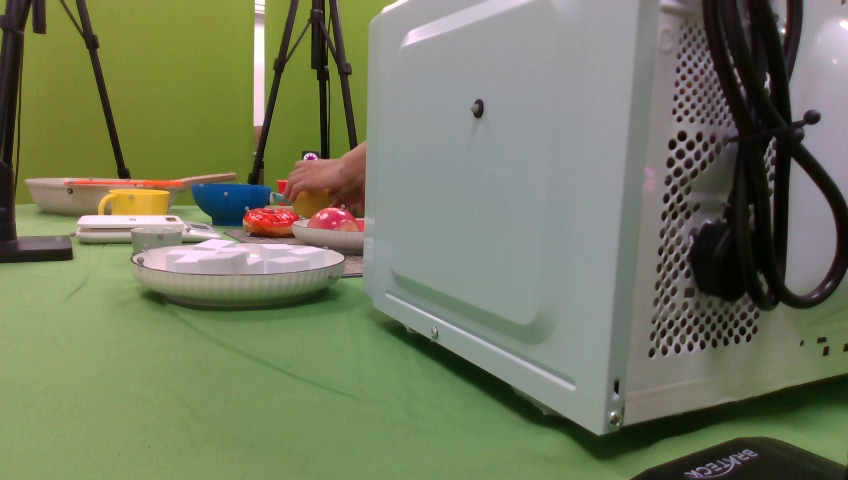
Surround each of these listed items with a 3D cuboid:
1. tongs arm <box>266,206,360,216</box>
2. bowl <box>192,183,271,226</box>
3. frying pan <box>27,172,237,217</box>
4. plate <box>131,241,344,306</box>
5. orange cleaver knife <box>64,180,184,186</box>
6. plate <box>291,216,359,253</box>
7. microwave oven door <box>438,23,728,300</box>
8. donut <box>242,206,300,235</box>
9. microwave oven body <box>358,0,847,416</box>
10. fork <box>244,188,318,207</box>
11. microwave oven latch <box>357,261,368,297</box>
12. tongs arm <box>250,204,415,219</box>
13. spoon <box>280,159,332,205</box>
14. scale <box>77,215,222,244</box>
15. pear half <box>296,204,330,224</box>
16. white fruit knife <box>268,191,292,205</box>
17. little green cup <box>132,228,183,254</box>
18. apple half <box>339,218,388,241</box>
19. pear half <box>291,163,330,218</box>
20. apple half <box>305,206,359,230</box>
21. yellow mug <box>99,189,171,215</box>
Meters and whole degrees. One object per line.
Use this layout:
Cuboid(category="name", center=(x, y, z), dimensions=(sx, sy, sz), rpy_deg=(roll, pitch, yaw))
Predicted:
Cuboid(category="tongs arm", center=(-0.175, -0.061, 1.363), dimensions=(0.387, 0.026, 0.050), rpy_deg=(-1, 3, -32))
Cuboid(category="bowl", center=(-0.382, -0.071, 1.202), dimensions=(0.151, 0.077, 0.151), rpy_deg=(3, 7, 0))
Cuboid(category="frying pan", center=(-0.624, -0.118, 1.387), dimensions=(0.305, 0.102, 0.490), rpy_deg=(8, 17, 32))
Cuboid(category="plate", center=(-0.187, 0.033, 0.625), dimensions=(0.208, 0.039, 0.207), rpy_deg=(2, 8, 0))
Cuboid(category="orange cleaver knife", center=(-0.595, -0.114, 1.212), dimensions=(0.212, 0.012, 0.077), rpy_deg=(-4, 6, -41))
Cuboid(category="plate", center=(-0.103, -0.010, 0.945), dimensions=(0.209, 0.038, 0.209), rpy_deg=(2, 8, 0))
Cuboid(category="microwave oven door", center=(0.181, -0.072, 0.621), dimensions=(0.358, 0.243, 0.039), rpy_deg=(-2, 8, -29))
Cuboid(category="donut", center=(-0.262, -0.032, 1.039), dimensions=(0.099, 0.048, 0.099), rpy_deg=(4, 10, 0))
Cuboid(category="microwave oven body", center=(0.211, -0.047, 0.474), dimensions=(0.444, 0.260, 0.324), rpy_deg=(-1, 7, -28))
Cuboid(category="fork", center=(-0.356, -0.105, 1.526), dimensions=(0.208, 0.018, 0.028), rpy_deg=(16, -6, -41))
Cuboid(category="microwave oven latch", center=(-0.019, 0.033, 0.530), dimensions=(0.079, 0.029, 0.030), rpy_deg=(-1, 7, -27))
Cuboid(category="tongs arm", center=(-0.213, -0.068, 1.440), dimensions=(0.389, 0.027, 0.028), rpy_deg=(1, -1, -17))
Cuboid(category="spoon", center=(-0.316, -0.159, 1.640), dimensions=(0.194, 0.022, 0.041), rpy_deg=(-50, 32, -20))
Cuboid(category="scale", center=(-0.434, -0.019, 0.963), dimensions=(0.202, 0.031, 0.148), rpy_deg=(-1, 9, -27))
Cuboid(category="pear half", center=(-0.228, -0.051, 1.260), dimensions=(0.070, 0.031, 0.088), rpy_deg=(-5, 16, 3))
Cuboid(category="white fruit knife", center=(-0.364, -0.105, 1.464), dimensions=(0.208, 0.027, 0.016), rpy_deg=(15, -1, -34))
Cuboid(category="little green cup", center=(-0.342, 0.006, 0.779), dimensions=(0.061, 0.038, 0.061), rpy_deg=(2, 8, 0))
Cuboid(category="apple half", center=(-0.097, -0.019, 0.984), dimensions=(0.081, 0.033, 0.081), rpy_deg=(2, 8, 0))
Cuboid(category="pear half", center=(-0.221, -0.095, 1.175), dimensions=(0.076, 0.109, 0.056), rpy_deg=(-1, 5, -9))
Cuboid(category="apple half", center=(-0.137, -0.024, 0.914), dimensions=(0.081, 0.053, 0.074), rpy_deg=(1, 9, -38))
Cuboid(category="yellow mug", center=(-0.519, -0.055, 1.080), dimensions=(0.099, 0.064, 0.131), rpy_deg=(7, 9, 26))
